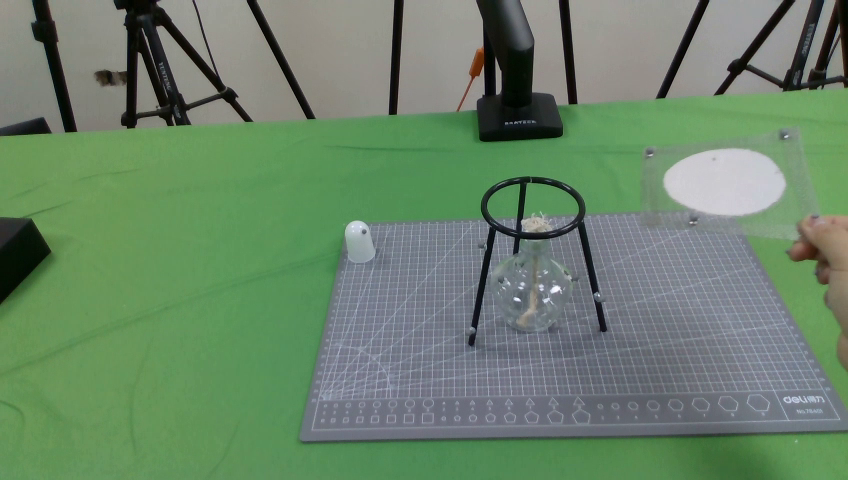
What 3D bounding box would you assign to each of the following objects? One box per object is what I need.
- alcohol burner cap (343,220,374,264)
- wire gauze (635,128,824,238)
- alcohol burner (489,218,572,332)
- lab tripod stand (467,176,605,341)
[{"bbox_3d":[-0.074,-0.001,0.677,0.034,0.048,0.033,-2,40,2],"label":"alcohol burner cap"},{"bbox_3d":[0.230,-0.046,0.473,0.124,0.011,0.120,-1,43,21],"label":"wire gauze"},{"bbox_3d":[0.100,0.028,0.565,0.078,0.120,0.077,-2,39,2],"label":"alcohol burner"},{"bbox_3d":[0.101,0.018,0.561,0.148,0.132,0.147,-2,38,2],"label":"lab tripod stand"}]
